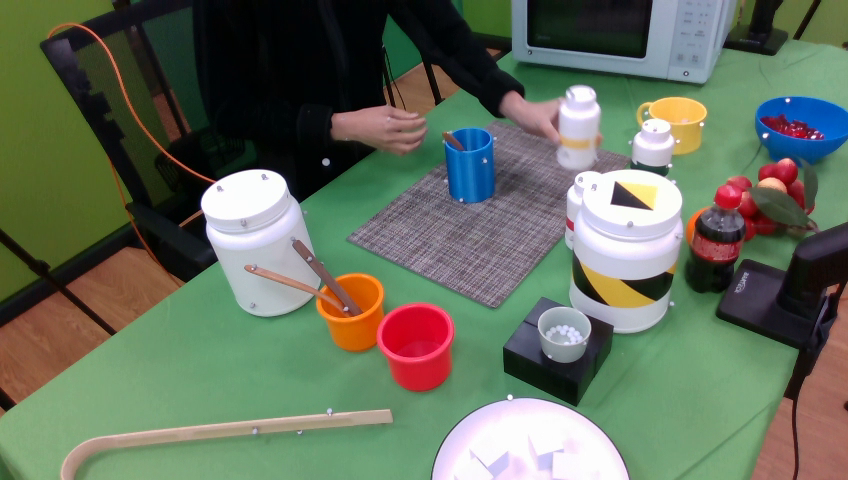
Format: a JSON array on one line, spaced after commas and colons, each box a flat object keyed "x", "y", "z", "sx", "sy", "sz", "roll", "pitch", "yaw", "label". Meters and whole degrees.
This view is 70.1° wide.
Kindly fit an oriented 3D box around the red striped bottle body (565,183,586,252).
[{"x": 0.247, "y": -0.041, "z": 0.910, "sx": 0.063, "sy": 0.120, "sz": 0.062, "roll": -3, "pitch": 39, "yaw": 3, "label": "red striped bottle body"}]

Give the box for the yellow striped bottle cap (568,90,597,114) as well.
[{"x": 0.246, "y": -0.214, "z": 0.936, "sx": 0.044, "sy": 0.019, "sz": 0.044, "roll": -4, "pitch": 42, "yaw": 4, "label": "yellow striped bottle cap"}]

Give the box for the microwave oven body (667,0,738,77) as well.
[{"x": 0.462, "y": -0.552, "z": 1.369, "sx": 0.439, "sy": 0.261, "sz": 0.326, "roll": 15, "pitch": 45, "yaw": 26, "label": "microwave oven body"}]

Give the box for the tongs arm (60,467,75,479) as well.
[{"x": -0.239, "y": 0.301, "z": 0.649, "sx": 0.386, "sy": 0.028, "sz": 0.028, "roll": 6, "pitch": 49, "yaw": 16, "label": "tongs arm"}]

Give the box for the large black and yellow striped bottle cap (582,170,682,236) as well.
[{"x": 0.252, "y": -0.048, "z": 0.735, "sx": 0.115, "sy": 0.019, "sz": 0.114, "roll": -3, "pitch": 40, "yaw": 3, "label": "large black and yellow striped bottle cap"}]

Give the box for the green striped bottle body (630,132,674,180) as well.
[{"x": 0.376, "y": -0.135, "z": 1.001, "sx": 0.063, "sy": 0.120, "sz": 0.063, "roll": -5, "pitch": 41, "yaw": 5, "label": "green striped bottle body"}]

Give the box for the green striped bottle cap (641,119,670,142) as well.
[{"x": 0.371, "y": -0.175, "z": 0.968, "sx": 0.044, "sy": 0.020, "sz": 0.044, "roll": -5, "pitch": 41, "yaw": 5, "label": "green striped bottle cap"}]

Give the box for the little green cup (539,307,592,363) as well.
[{"x": 0.168, "y": 0.115, "z": 0.721, "sx": 0.061, "sy": 0.039, "sz": 0.061, "roll": -4, "pitch": 42, "yaw": 4, "label": "little green cup"}]

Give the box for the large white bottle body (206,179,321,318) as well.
[{"x": -0.233, "y": 0.007, "z": 0.876, "sx": 0.130, "sy": 0.185, "sz": 0.130, "roll": -5, "pitch": 40, "yaw": 4, "label": "large white bottle body"}]

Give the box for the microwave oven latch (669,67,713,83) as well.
[{"x": 0.556, "y": -0.348, "z": 1.261, "sx": 0.078, "sy": 0.029, "sz": 0.030, "roll": 16, "pitch": 46, "yaw": 27, "label": "microwave oven latch"}]

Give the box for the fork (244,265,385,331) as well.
[{"x": -0.142, "y": 0.078, "z": 0.806, "sx": 0.209, "sy": 0.018, "sz": 0.028, "roll": 30, "pitch": 33, "yaw": -23, "label": "fork"}]

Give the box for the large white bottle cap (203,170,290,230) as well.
[{"x": -0.241, "y": -0.057, "z": 0.822, "sx": 0.115, "sy": 0.018, "sz": 0.114, "roll": -4, "pitch": 40, "yaw": 4, "label": "large white bottle cap"}]

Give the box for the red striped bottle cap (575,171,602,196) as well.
[{"x": 0.242, "y": -0.081, "z": 0.876, "sx": 0.044, "sy": 0.018, "sz": 0.044, "roll": -5, "pitch": 44, "yaw": 5, "label": "red striped bottle cap"}]

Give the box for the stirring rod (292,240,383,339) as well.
[{"x": -0.118, "y": 0.068, "z": 0.826, "sx": 0.176, "sy": 0.006, "sz": 0.014, "roll": 49, "pitch": 60, "yaw": -4, "label": "stirring rod"}]

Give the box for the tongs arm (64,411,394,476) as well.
[{"x": -0.228, "y": 0.241, "z": 0.715, "sx": 0.385, "sy": 0.026, "sz": 0.050, "roll": -5, "pitch": 44, "yaw": 5, "label": "tongs arm"}]

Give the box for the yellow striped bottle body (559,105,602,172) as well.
[{"x": 0.251, "y": -0.175, "z": 0.970, "sx": 0.063, "sy": 0.121, "sz": 0.062, "roll": -4, "pitch": 41, "yaw": 4, "label": "yellow striped bottle body"}]

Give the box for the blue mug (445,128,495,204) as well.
[{"x": 0.081, "y": -0.139, "z": 1.058, "sx": 0.082, "sy": 0.106, "sz": 0.116, "roll": -4, "pitch": 40, "yaw": 4, "label": "blue mug"}]

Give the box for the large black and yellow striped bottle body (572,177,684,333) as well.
[{"x": 0.262, "y": 0.017, "z": 0.788, "sx": 0.131, "sy": 0.185, "sz": 0.130, "roll": -5, "pitch": 40, "yaw": 4, "label": "large black and yellow striped bottle body"}]

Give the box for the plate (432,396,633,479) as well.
[{"x": 0.112, "y": 0.261, "z": 0.634, "sx": 0.209, "sy": 0.038, "sz": 0.208, "roll": -5, "pitch": 40, "yaw": 4, "label": "plate"}]

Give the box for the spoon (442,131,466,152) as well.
[{"x": 0.062, "y": -0.144, "z": 1.000, "sx": 0.041, "sy": 0.195, "sz": 0.021, "roll": 12, "pitch": 79, "yaw": 23, "label": "spoon"}]

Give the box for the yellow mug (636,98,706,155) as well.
[{"x": 0.453, "y": -0.217, "z": 1.129, "sx": 0.100, "sy": 0.064, "sz": 0.129, "roll": -34, "pitch": 46, "yaw": -27, "label": "yellow mug"}]

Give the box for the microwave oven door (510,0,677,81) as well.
[{"x": 0.353, "y": -0.478, "z": 1.290, "sx": 0.353, "sy": 0.245, "sz": 0.039, "roll": 15, "pitch": 45, "yaw": 25, "label": "microwave oven door"}]

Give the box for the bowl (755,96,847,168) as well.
[{"x": 0.645, "y": -0.177, "z": 1.041, "sx": 0.151, "sy": 0.077, "sz": 0.150, "roll": -5, "pitch": 40, "yaw": 4, "label": "bowl"}]
